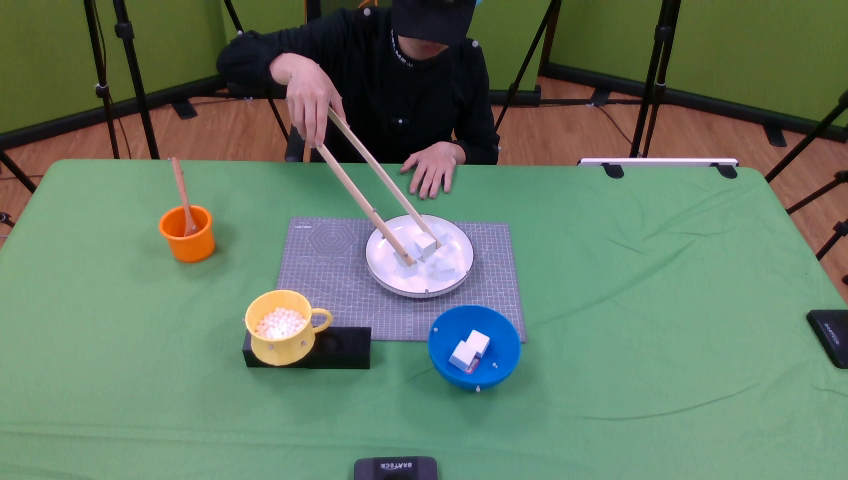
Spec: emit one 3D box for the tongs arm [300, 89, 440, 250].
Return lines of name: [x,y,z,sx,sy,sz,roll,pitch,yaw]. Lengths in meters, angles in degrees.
tongs arm: [-0.100,-0.133,1.113,0.028,0.028,0.387,-36,82,-27]

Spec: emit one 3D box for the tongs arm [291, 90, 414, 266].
tongs arm: [-0.128,-0.115,1.093,0.051,0.026,0.384,-35,82,-30]

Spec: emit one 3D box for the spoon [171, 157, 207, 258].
spoon: [-0.444,-0.061,1.133,0.042,0.194,0.021,-12,5,-19]

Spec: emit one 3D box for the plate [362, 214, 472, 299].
plate: [-0.014,0.034,1.150,0.208,0.039,0.206,2,46,-2]

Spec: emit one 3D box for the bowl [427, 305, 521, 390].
bowl: [0.077,0.188,0.985,0.151,0.077,0.150,3,46,-3]

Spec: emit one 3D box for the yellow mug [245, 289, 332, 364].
yellow mug: [-0.210,0.132,0.954,0.131,0.064,0.099,-9,48,-14]
